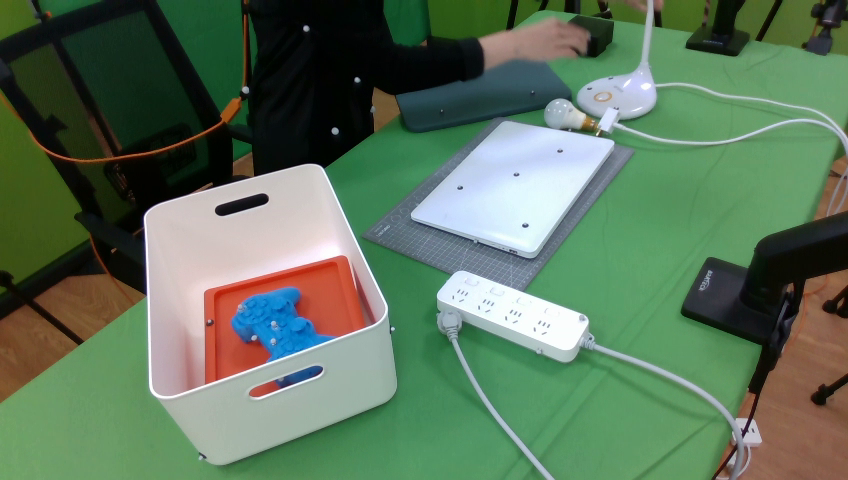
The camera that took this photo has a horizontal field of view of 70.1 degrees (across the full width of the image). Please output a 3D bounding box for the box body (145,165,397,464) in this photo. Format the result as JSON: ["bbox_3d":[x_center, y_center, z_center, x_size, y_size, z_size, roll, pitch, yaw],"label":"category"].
[{"bbox_3d":[-0.205,0.080,0.802,0.255,0.161,0.361,-18,41,-13],"label":"box body"}]

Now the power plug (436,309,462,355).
[{"bbox_3d":[0.032,0.126,0.810,0.035,0.053,0.072,3,59,7],"label":"power plug"}]

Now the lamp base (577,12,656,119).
[{"bbox_3d":[0.404,-0.359,1.218,0.180,0.181,0.159,-24,43,-23],"label":"lamp base"}]

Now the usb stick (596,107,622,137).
[{"bbox_3d":[0.355,-0.223,1.168,0.027,0.059,0.022,37,14,34],"label":"usb stick"}]

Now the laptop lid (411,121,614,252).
[{"bbox_3d":[0.164,-0.112,1.068,0.240,0.013,0.357,19,46,30],"label":"laptop lid"}]

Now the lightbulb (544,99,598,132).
[{"bbox_3d":[0.291,-0.241,1.198,0.107,0.059,0.059,22,46,8],"label":"lightbulb"}]

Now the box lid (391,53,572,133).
[{"bbox_3d":[0.123,-0.339,1.366,0.372,0.015,0.261,-12,40,-5],"label":"box lid"}]

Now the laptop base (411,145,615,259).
[{"bbox_3d":[0.167,-0.102,1.075,0.234,0.023,0.355,17,45,30],"label":"laptop base"}]

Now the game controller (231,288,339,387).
[{"bbox_3d":[-0.167,0.110,0.735,0.097,0.052,0.154,-34,47,-22],"label":"game controller"}]

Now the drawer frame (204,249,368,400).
[{"bbox_3d":[-0.174,0.129,0.790,0.202,0.083,0.212,-16,45,-8],"label":"drawer frame"}]

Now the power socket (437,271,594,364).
[{"bbox_3d":[0.118,0.102,0.830,0.225,0.033,0.072,20,48,28],"label":"power socket"}]

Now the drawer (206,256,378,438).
[{"bbox_3d":[-0.177,0.130,0.787,0.195,0.073,0.210,-14,39,-9],"label":"drawer"}]
